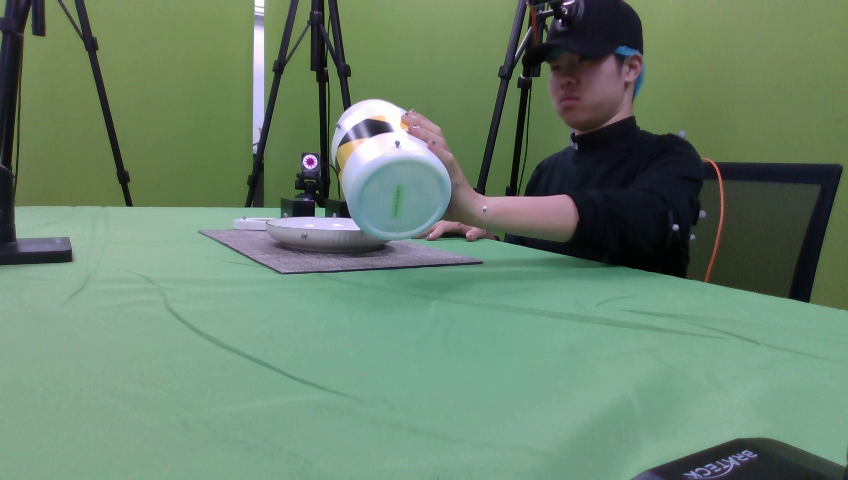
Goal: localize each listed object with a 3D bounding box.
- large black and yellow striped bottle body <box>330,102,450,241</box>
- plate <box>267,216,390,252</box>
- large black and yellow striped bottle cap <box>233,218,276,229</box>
[{"bbox_3d":[-0.053,-0.099,0.800,0.131,0.130,0.183,0,34,-19],"label":"large black and yellow striped bottle body"},{"bbox_3d":[-0.145,-0.010,0.967,0.208,0.039,0.207,2,7,0],"label":"plate"},{"bbox_3d":[-0.311,-0.032,1.172,0.115,0.019,0.115,1,4,0],"label":"large black and yellow striped bottle cap"}]
